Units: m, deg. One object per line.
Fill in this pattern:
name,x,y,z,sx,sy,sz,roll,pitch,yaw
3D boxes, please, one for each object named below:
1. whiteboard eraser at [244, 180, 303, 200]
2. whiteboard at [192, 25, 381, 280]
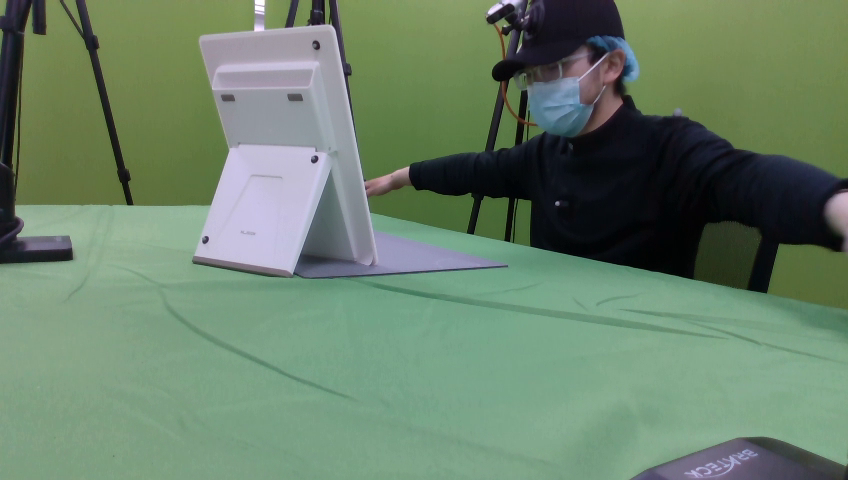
whiteboard eraser,-0.318,-0.106,1.277,0.113,0.042,0.055,-6,15,-36
whiteboard,-0.205,-0.085,0.734,0.216,0.305,0.144,7,30,30
